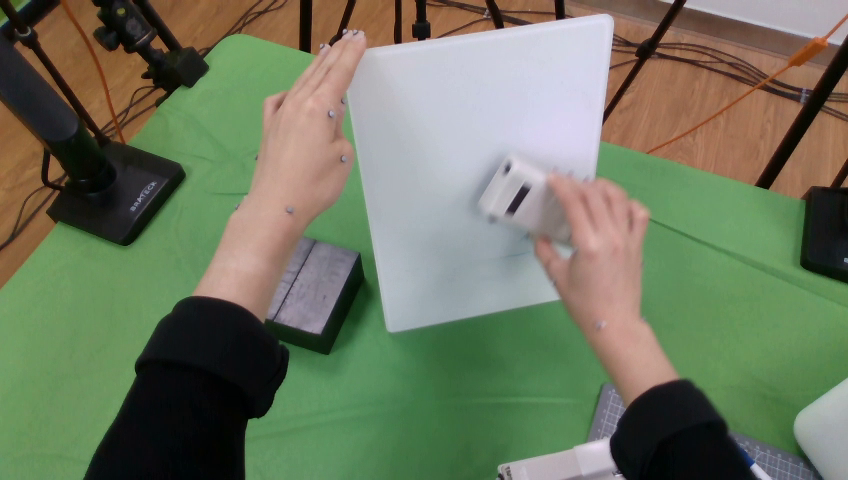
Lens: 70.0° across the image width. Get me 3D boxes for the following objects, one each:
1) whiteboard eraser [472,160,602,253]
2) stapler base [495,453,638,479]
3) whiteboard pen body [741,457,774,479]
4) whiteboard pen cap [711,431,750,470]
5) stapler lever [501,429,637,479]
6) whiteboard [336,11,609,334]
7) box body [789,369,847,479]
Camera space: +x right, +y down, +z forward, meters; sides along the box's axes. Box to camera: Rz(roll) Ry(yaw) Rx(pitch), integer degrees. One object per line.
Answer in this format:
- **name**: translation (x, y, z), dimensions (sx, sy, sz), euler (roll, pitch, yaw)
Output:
- **whiteboard eraser**: translation (0.102, -0.030, 0.551), dimensions (0.113, 0.056, 0.041), euler (18, 31, -26)
- **stapler base**: translation (0.132, 0.207, 0.554), dimensions (0.130, 0.024, 0.041), euler (-12, 54, -3)
- **whiteboard pen body**: translation (0.321, 0.234, 0.537), dimensions (0.017, 0.017, 0.139), euler (-32, 62, -19)
- **whiteboard pen cap**: translation (0.286, 0.196, 0.564), dimensions (0.018, 0.018, 0.033), euler (-32, 63, -19)
- **stapler lever**: translation (0.129, 0.194, 0.533), dimensions (0.118, 0.040, 0.026), euler (-11, 54, -4)
- **whiteboard**: translation (0.039, -0.081, 0.606), dimensions (0.217, 0.308, 0.142), euler (-10, 39, -6)
- **box body**: translation (0.517, 0.223, 0.465), dimensions (0.254, 0.162, 0.360), euler (-21, 60, -13)
